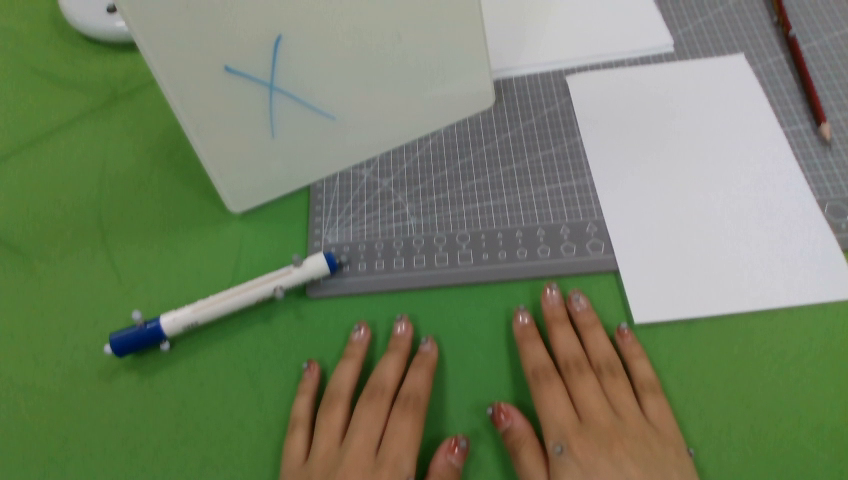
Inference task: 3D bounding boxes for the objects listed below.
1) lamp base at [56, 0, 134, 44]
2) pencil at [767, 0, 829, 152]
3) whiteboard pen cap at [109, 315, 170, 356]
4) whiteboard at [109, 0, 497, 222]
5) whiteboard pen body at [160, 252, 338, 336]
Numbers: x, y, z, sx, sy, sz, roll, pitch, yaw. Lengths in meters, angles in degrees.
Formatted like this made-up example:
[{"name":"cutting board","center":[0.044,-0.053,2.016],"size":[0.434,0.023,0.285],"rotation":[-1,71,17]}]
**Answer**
[{"name":"lamp base","center":[-0.275,-0.286,0.503],"size":[0.178,0.182,0.160],"rotation":[32,67,23]},{"name":"pencil","center":[0.288,-0.148,0.475],"size":[0.012,0.012,0.192],"rotation":[-1,62,4]},{"name":"whiteboard pen cap","center":[-0.178,0.060,0.383],"size":[0.033,0.018,0.018],"rotation":[-21,60,-12]},{"name":"whiteboard","center":[-0.098,-0.206,0.404],"size":[0.217,0.308,0.142],"rotation":[-24,41,-8]},{"name":"whiteboard pen body","center":[-0.124,0.039,0.393],"size":[0.141,0.017,0.017],"rotation":[-22,60,-10]}]
